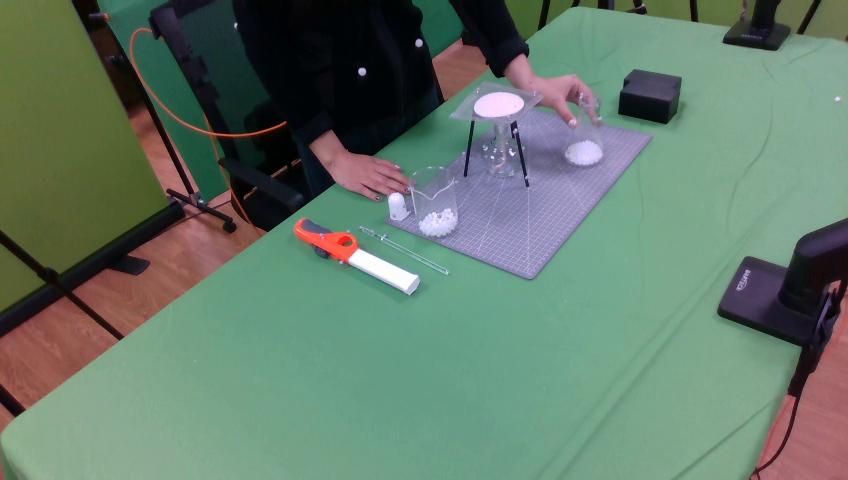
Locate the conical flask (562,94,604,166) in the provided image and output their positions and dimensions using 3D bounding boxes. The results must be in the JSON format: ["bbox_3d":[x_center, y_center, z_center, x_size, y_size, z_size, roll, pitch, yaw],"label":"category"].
[{"bbox_3d":[0.289,-0.198,1.076,0.075,0.122,0.075,-2,46,3],"label":"conical flask"}]

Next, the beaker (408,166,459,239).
[{"bbox_3d":[0.018,-0.057,0.984,0.074,0.101,0.083,-6,41,5],"label":"beaker"}]

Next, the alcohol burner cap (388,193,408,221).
[{"bbox_3d":[-0.047,-0.059,1.043,0.034,0.048,0.033,-6,40,5],"label":"alcohol burner cap"}]

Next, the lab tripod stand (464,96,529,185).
[{"bbox_3d":[0.138,-0.182,1.082,0.148,0.132,0.147,-6,38,5],"label":"lab tripod stand"}]

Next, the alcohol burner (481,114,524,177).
[{"bbox_3d":[0.141,-0.174,1.087,0.078,0.119,0.077,-4,40,4],"label":"alcohol burner"}]

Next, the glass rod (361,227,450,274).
[{"bbox_3d":[-0.034,0.015,0.985,0.198,0.008,0.008,26,52,34],"label":"glass rod"}]

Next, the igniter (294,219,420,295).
[{"bbox_3d":[-0.118,0.022,0.977,0.274,0.025,0.057,24,60,34],"label":"igniter"}]

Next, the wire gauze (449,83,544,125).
[{"bbox_3d":[0.126,-0.233,1.039,0.120,0.011,0.125,18,47,30],"label":"wire gauze"}]
